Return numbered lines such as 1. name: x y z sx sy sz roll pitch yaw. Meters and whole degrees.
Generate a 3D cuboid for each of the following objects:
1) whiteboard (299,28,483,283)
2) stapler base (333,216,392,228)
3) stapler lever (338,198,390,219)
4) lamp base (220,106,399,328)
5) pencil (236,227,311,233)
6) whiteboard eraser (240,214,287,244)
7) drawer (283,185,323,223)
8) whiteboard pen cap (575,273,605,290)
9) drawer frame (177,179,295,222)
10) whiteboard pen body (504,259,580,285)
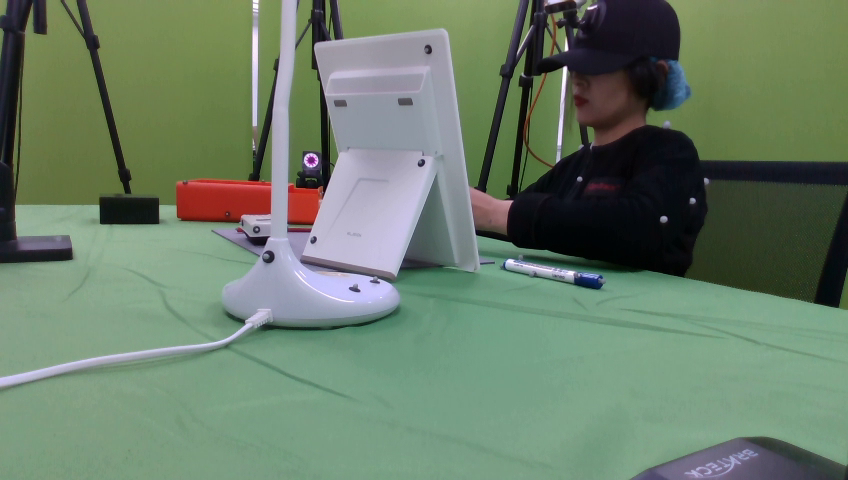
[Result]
1. whiteboard: -0.075 -0.082 0.741 0.216 0.305 0.144 9 30 38
2. stapler base: -0.126 -0.038 1.250 0.131 0.024 0.041 -1 8 -42
3. stapler lever: -0.124 -0.064 1.249 0.119 0.040 0.026 0 7 -42
4. lamp base: -0.101 -0.023 0.531 0.160 0.180 0.179 4 10 10
5. pencil: -0.239 -0.017 1.093 0.195 0.012 0.012 1 7 -27
6. whiteboard eraser: -0.256 -0.018 0.958 0.056 0.042 0.112 0 8 -25
7. drawer: -0.329 -0.085 1.326 0.212 0.073 0.194 1 8 -7
8. whiteboard pen cap: 0.197 0.047 0.719 0.018 0.018 0.033 -4 11 -41
9. drawer frame: -0.397 -0.088 1.315 0.214 0.082 0.201 1 8 -7
10. whiteboard pen body: 0.157 0.042 0.764 0.017 0.017 0.140 -4 11 -41
